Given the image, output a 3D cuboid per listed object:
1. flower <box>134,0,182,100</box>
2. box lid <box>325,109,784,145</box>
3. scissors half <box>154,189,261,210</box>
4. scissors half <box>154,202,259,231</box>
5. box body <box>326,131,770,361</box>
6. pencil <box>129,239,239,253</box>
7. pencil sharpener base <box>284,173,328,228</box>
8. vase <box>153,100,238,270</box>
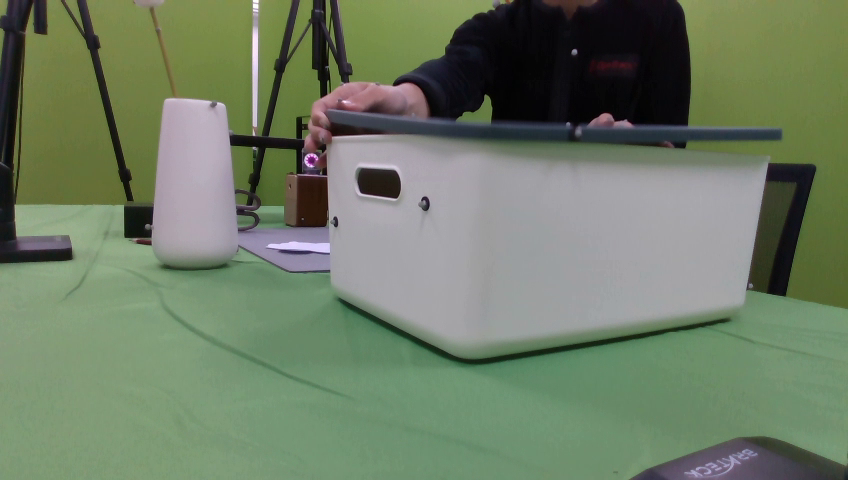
[{"bbox_3d":[-0.282,-0.146,0.712,0.038,0.362,0.044,-23,24,-31],"label":"flower"},{"bbox_3d":[0.117,-0.103,0.567,0.373,0.015,0.262,-3,11,-31],"label":"box lid"},{"bbox_3d":[-0.373,-0.066,1.049,0.176,0.040,0.012,-6,12,-27],"label":"scissors half"},{"bbox_3d":[-0.375,-0.046,1.051,0.176,0.040,0.013,13,-2,-28],"label":"scissors half"},{"bbox_3d":[0.112,-0.010,0.583,0.366,0.160,0.253,-2,9,-32],"label":"box body"},{"bbox_3d":[-0.350,0.008,0.874,0.193,0.012,0.012,4,8,18],"label":"pencil"},{"bbox_3d":[-0.239,-0.081,1.231,0.077,0.107,0.061,-2,8,-36],"label":"pencil sharpener base"},{"bbox_3d":[-0.278,-0.066,0.736,0.098,0.200,0.098,2,8,0],"label":"vase"}]
